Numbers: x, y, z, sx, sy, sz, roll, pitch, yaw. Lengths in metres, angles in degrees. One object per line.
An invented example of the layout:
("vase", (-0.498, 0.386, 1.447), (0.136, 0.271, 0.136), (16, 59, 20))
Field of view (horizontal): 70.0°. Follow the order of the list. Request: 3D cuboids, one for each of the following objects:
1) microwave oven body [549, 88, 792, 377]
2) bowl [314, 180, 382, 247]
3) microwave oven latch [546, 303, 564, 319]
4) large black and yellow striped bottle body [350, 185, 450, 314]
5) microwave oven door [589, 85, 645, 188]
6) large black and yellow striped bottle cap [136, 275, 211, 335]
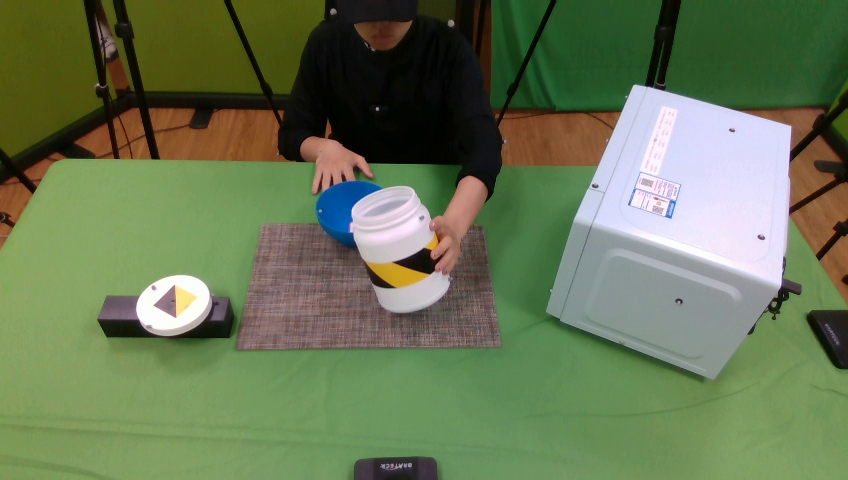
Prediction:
("microwave oven body", (0.456, -0.028, 1.088), (0.325, 0.261, 0.440), (20, 47, 16))
("bowl", (-0.135, -0.039, 1.180), (0.151, 0.077, 0.150), (3, 46, -2))
("microwave oven latch", (0.242, 0.102, 1.081), (0.030, 0.029, 0.079), (21, 48, 17))
("large black and yellow striped bottle body", (-0.041, 0.014, 1.007), (0.131, 0.185, 0.130), (-15, 27, 8))
("microwave oven door", (0.341, -0.107, 1.149), (0.039, 0.245, 0.354), (20, 48, 15))
("large black and yellow striped bottle cap", (-0.412, 0.105, 0.999), (0.115, 0.019, 0.114), (3, 46, -3))
